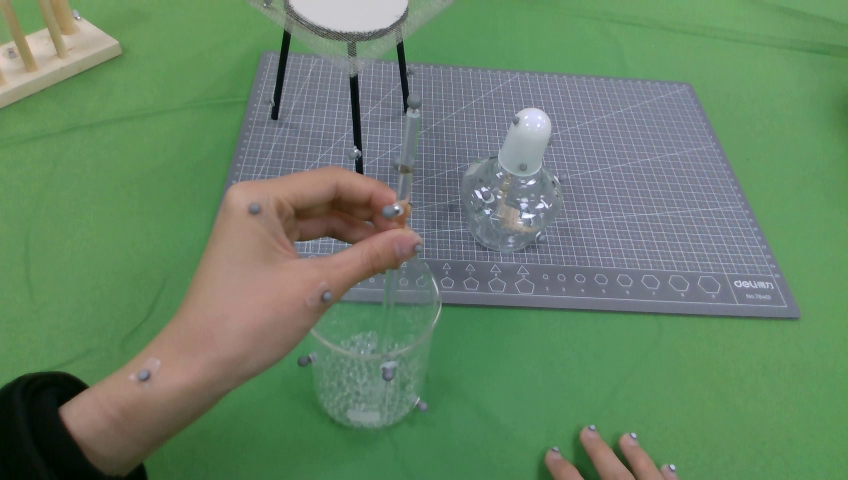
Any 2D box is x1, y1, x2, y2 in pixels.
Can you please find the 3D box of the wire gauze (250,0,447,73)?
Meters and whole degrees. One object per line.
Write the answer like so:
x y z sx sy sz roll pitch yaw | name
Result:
-0.057 -0.175 0.432 0.124 0.011 0.121 35 56 18 | wire gauze

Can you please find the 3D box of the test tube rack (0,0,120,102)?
-0.390 -0.160 0.498 0.066 0.086 0.242 34 54 19 | test tube rack

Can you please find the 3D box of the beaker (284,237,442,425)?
-0.035 0.059 0.357 0.084 0.101 0.073 -5 51 -10 | beaker

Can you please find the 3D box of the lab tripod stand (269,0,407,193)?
-0.061 -0.133 0.484 0.148 0.132 0.147 5 51 -6 | lab tripod stand

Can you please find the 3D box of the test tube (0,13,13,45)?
-0.374 -0.228 0.491 0.017 0.151 0.017 2 48 -2 | test tube

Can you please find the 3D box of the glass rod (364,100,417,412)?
-0.020 0.022 0.311 0.008 0.201 0.008 7 36 -4 | glass rod

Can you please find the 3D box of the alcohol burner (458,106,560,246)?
0.066 -0.051 0.447 0.078 0.120 0.077 5 49 -5 | alcohol burner

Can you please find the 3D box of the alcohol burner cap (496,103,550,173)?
0.070 -0.072 0.418 0.034 0.048 0.033 3 55 -4 | alcohol burner cap
